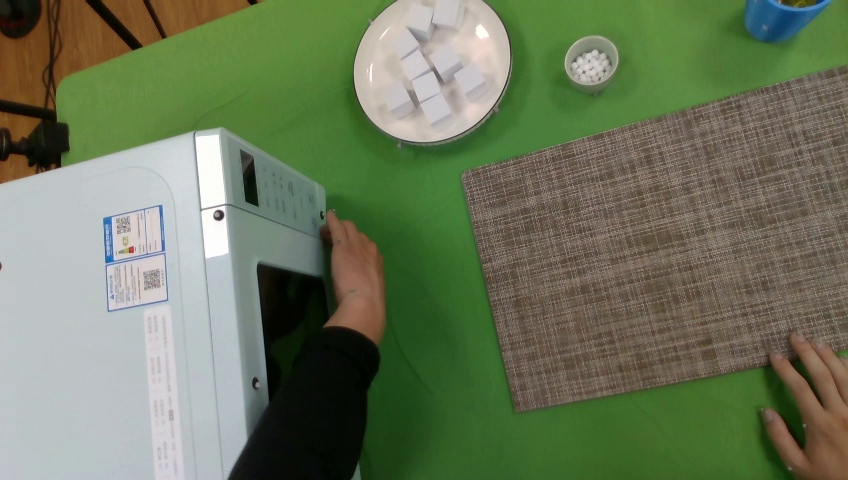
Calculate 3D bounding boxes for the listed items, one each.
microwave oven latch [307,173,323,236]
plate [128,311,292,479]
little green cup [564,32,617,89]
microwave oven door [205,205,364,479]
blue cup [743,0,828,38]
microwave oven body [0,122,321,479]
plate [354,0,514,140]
[{"bbox_3d":[-0.145,-0.044,0.774,0.030,0.029,0.079,-3,82,14],"label":"microwave oven latch"},{"bbox_3d":[-0.251,0.188,0.723,0.208,0.038,0.208,-2,83,13],"label":"plate"},{"bbox_3d":[0.200,-0.212,0.727,0.061,0.039,0.061,-2,81,15],"label":"little green cup"},{"bbox_3d":[-0.137,0.156,0.639,0.039,0.245,0.354,-12,79,13],"label":"microwave oven door"},{"bbox_3d":[0.390,-0.268,0.653,0.092,0.101,0.092,-2,83,13],"label":"blue cup"},{"bbox_3d":[-0.281,0.144,0.684,0.325,0.261,0.440,-11,80,12],"label":"microwave oven body"},{"bbox_3d":[0.013,-0.225,0.777,0.207,0.039,0.207,-2,82,14],"label":"plate"}]
